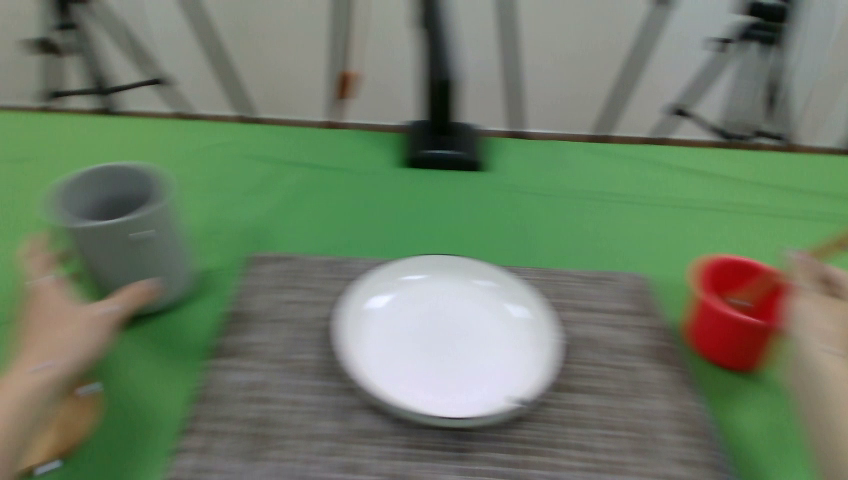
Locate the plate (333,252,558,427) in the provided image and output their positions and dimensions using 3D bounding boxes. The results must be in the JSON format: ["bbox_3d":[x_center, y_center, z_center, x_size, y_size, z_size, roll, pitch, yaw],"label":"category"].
[{"bbox_3d":[0.020,0.092,0.574,0.208,0.039,0.205,2,39,-2],"label":"plate"}]

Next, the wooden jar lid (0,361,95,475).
[{"bbox_3d":[-0.329,0.147,0.499,0.108,0.021,0.107,4,39,-3],"label":"wooden jar lid"}]

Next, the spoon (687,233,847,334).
[{"bbox_3d":[0.326,0.035,0.554,0.022,0.194,0.041,24,46,-20],"label":"spoon"}]

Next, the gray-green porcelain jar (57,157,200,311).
[{"bbox_3d":[-0.284,-0.001,0.599,0.106,0.127,0.105,3,39,-2],"label":"gray-green porcelain jar"}]
